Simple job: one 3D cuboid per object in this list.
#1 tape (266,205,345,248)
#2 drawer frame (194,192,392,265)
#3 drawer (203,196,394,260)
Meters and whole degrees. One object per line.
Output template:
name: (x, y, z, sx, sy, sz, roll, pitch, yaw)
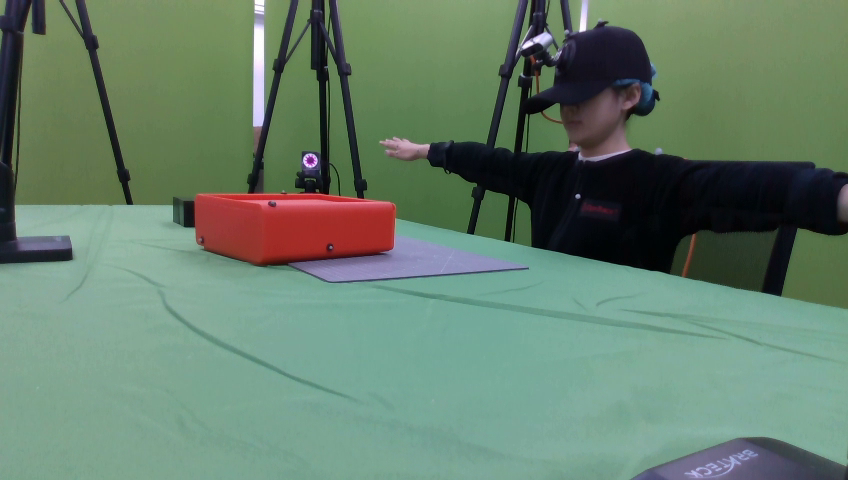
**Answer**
tape: (-0.178, -0.021, 0.904, 0.117, 0.052, 0.117, 5, 6, 0)
drawer frame: (-0.190, -0.024, 0.882, 0.215, 0.082, 0.200, -5, 11, -44)
drawer: (-0.184, -0.023, 0.887, 0.213, 0.073, 0.193, -5, 11, -43)
